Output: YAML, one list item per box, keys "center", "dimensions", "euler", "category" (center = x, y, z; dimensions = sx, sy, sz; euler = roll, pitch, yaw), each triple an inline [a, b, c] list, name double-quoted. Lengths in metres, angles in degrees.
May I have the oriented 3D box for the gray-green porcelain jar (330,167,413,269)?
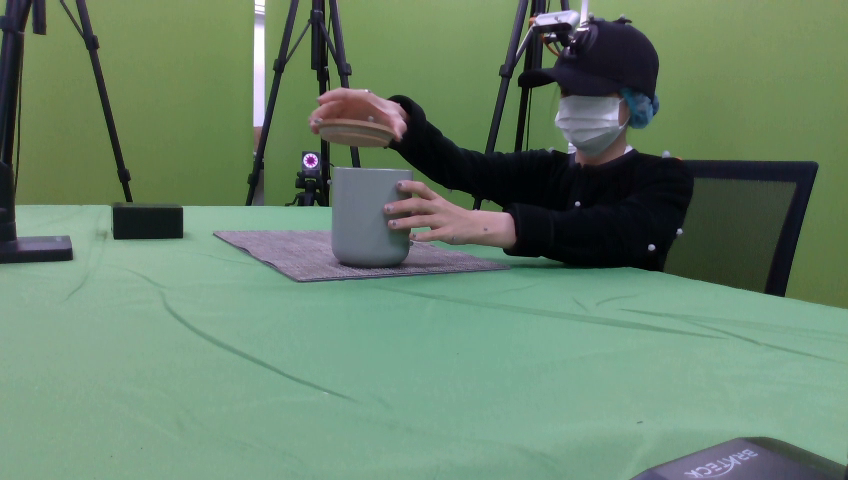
- center: [-0.069, -0.030, 0.791]
  dimensions: [0.106, 0.126, 0.106]
  euler: [3, 7, 0]
  category: "gray-green porcelain jar"

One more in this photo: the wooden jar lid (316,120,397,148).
- center: [-0.091, -0.142, 0.816]
  dimensions: [0.108, 0.020, 0.108]
  euler: [5, 1, 0]
  category: "wooden jar lid"
